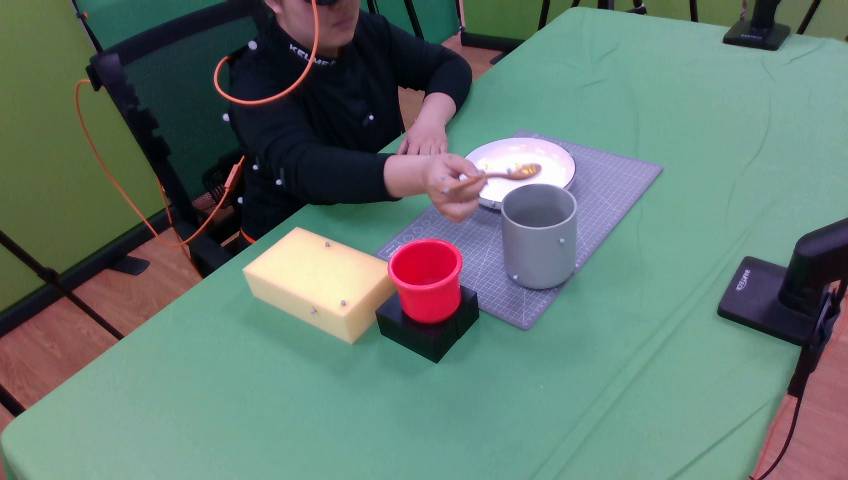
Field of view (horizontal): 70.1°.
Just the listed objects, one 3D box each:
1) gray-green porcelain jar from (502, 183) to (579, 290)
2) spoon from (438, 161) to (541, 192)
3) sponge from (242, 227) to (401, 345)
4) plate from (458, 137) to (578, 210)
[{"bbox_3d":[0.167,-0.001,0.866,0.106,0.127,0.105,-5,40,5],"label":"gray-green porcelain jar"},{"bbox_3d":[0.089,-0.086,0.803,0.195,0.021,0.041,-13,19,-41],"label":"spoon"},{"bbox_3d":[-0.154,0.063,0.907,0.205,0.061,0.118,19,48,29],"label":"sponge"},{"bbox_3d":[0.166,-0.113,1.068,0.207,0.039,0.206,-5,40,5],"label":"plate"}]
